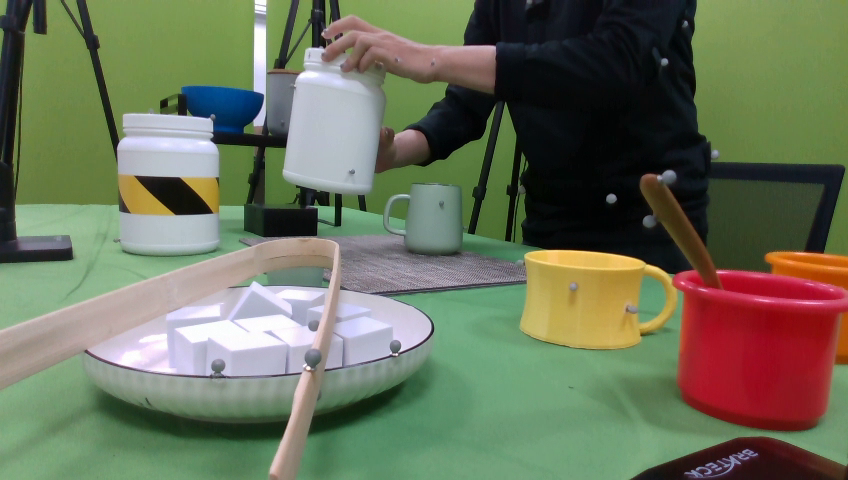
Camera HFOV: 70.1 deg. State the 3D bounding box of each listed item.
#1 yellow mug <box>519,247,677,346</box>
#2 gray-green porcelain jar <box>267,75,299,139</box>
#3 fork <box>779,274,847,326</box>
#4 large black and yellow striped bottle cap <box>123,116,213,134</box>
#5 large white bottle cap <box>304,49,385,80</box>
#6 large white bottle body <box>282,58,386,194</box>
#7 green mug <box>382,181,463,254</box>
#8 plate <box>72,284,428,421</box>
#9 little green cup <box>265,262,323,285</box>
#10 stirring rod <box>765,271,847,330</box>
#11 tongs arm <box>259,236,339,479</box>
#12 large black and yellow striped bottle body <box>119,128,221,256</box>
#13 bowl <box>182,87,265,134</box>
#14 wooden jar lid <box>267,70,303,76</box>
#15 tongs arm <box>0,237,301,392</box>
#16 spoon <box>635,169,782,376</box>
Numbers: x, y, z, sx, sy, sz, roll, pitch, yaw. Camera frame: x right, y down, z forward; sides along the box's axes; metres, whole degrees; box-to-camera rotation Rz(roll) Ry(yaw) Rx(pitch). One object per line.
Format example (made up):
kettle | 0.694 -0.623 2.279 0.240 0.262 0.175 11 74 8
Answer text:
yellow mug | 0.148 0.045 0.513 0.131 0.064 0.100 3 7 0
gray-green porcelain jar | -0.277 -0.279 1.280 0.106 0.126 0.106 2 8 0
fork | 0.332 0.018 0.443 0.028 0.018 0.207 -3 -35 -16
large black and yellow striped bottle cap | -0.353 -0.159 0.838 0.115 0.019 0.115 2 6 0
large white bottle cap | -0.111 -0.248 0.859 0.115 0.018 0.115 12 9 -2
large white bottle body | -0.127 -0.167 0.871 0.131 0.184 0.130 10 9 -1
green mug | -0.001 -0.036 0.922 0.126 0.105 0.092 0 8 -16
plate | -0.102 0.066 0.381 0.208 0.039 0.207 3 7 0
little green cup | -0.134 0.033 0.627 0.061 0.038 0.061 3 7 0
stirring rod | 0.352 0.020 0.481 0.176 0.006 0.014 -40 -7 17
tongs arm | -0.074 0.040 0.345 0.051 0.026 0.384 -1 9 -3
large black and yellow striped bottle body | -0.355 -0.076 0.850 0.131 0.184 0.130 2 8 0
bowl | -0.383 -0.244 1.158 0.151 0.077 0.151 2 7 0
wooden jar lid | -0.275 -0.340 1.271 0.108 0.020 0.108 5 6 0
tongs arm | -0.158 0.038 0.346 0.028 0.028 0.388 -3 8 11
spoon | 0.161 0.026 0.346 0.041 0.194 0.021 10 56 53
